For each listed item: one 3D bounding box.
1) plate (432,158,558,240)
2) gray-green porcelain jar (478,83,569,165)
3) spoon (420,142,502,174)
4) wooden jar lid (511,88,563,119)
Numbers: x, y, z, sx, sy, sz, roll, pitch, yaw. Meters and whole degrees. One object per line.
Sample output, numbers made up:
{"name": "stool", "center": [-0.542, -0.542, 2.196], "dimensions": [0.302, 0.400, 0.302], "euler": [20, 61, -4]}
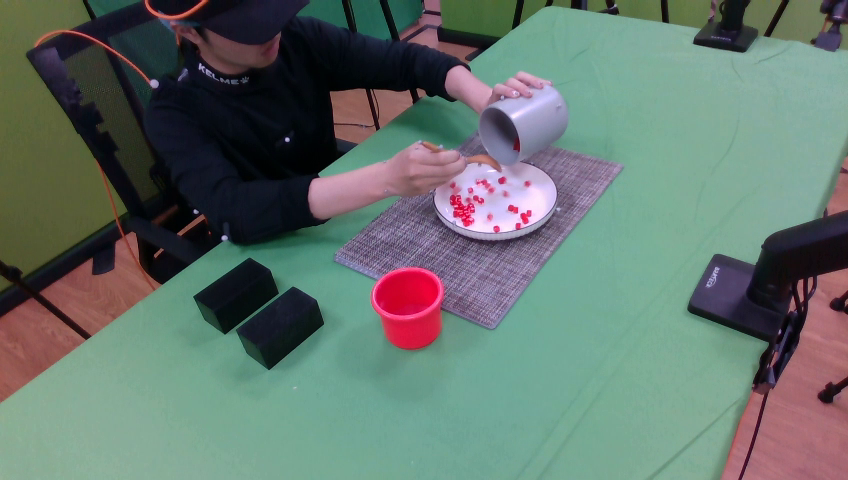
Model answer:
{"name": "plate", "center": [0.118, -0.066, 1.013], "dimensions": [0.207, 0.039, 0.206], "euler": [-4, 41, 4]}
{"name": "gray-green porcelain jar", "center": [0.172, -0.199, 1.018], "dimensions": [0.127, 0.106, 0.105], "euler": [-31, 46, -26]}
{"name": "spoon", "center": [0.061, -0.127, 0.941], "dimensions": [0.195, 0.021, 0.041], "euler": [3, 30, -47]}
{"name": "wooden jar lid", "center": [0.237, -0.286, 1.271], "dimensions": [0.108, 0.021, 0.108], "euler": [-5, 42, 5]}
